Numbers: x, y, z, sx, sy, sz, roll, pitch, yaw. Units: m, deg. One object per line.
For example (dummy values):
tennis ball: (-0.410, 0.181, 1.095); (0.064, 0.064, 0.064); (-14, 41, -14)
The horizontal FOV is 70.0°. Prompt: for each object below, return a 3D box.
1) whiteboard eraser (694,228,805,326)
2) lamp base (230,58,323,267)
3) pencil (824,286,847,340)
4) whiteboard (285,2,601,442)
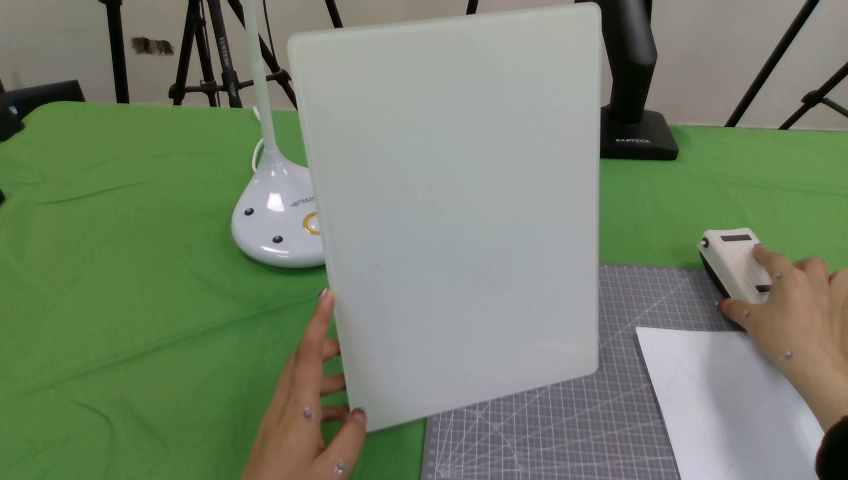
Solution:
whiteboard eraser: (0.316, 0.035, 0.597); (0.055, 0.042, 0.111); (-7, 41, -2)
lamp base: (-0.144, -0.090, 0.641); (0.160, 0.182, 0.177); (-31, 46, -32)
pencil: (0.387, 0.110, 0.533); (0.012, 0.012, 0.192); (6, 41, 8)
whiteboard: (0.016, -0.024, 0.509); (0.218, 0.307, 0.142); (-11, 21, -12)
